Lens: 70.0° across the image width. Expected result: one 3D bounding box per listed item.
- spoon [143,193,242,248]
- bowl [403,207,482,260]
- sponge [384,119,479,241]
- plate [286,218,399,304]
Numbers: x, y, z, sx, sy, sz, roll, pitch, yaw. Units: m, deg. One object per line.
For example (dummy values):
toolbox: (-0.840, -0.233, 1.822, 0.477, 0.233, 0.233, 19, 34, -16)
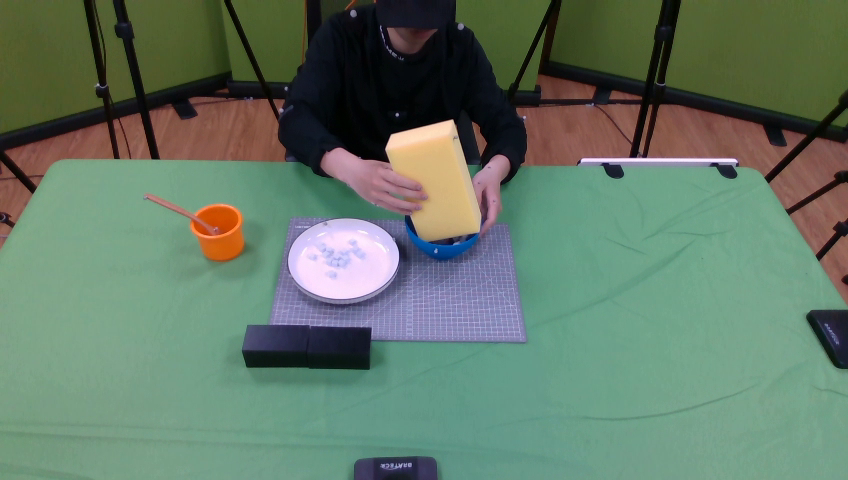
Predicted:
spoon: (-0.421, -0.037, 1.113, 0.021, 0.195, 0.041, -37, 37, 23)
bowl: (0.033, -0.015, 1.173, 0.151, 0.077, 0.150, 2, 46, -2)
sponge: (0.018, -0.102, 1.093, 0.118, 0.208, 0.060, -10, 34, 15)
plate: (-0.150, 0.041, 1.131, 0.209, 0.038, 0.208, 2, 45, -2)
